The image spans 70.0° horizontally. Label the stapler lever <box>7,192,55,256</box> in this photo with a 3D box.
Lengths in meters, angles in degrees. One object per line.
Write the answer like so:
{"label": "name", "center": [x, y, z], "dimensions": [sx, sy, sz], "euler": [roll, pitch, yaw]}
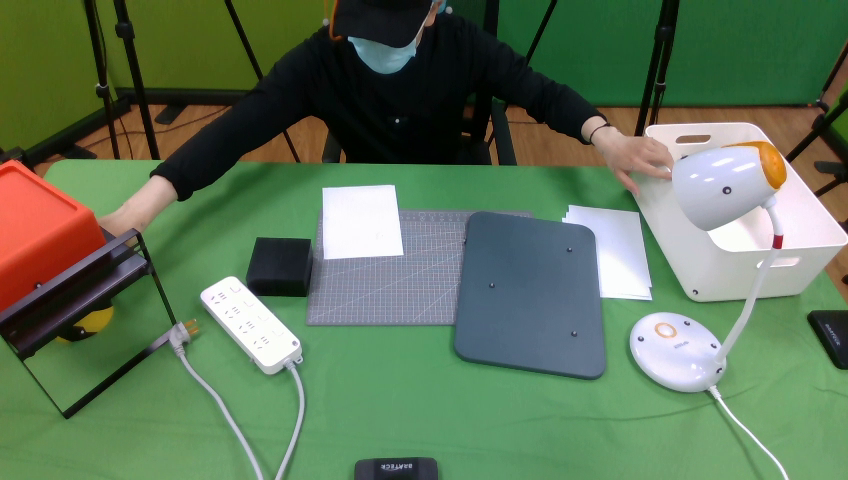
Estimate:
{"label": "stapler lever", "center": [-0.575, -0.026, 0.885], "dimensions": [0.027, 0.040, 0.117], "euler": [-31, 56, -25]}

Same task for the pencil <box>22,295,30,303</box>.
{"label": "pencil", "center": [-0.590, 0.010, 0.883], "dimensions": [0.012, 0.012, 0.193], "euler": [-17, 61, -19]}

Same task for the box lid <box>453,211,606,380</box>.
{"label": "box lid", "center": [0.200, 0.085, 1.138], "dimensions": [0.263, 0.015, 0.369], "euler": [8, 47, 3]}

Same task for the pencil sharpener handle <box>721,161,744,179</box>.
{"label": "pencil sharpener handle", "center": [0.668, -0.148, 1.299], "dimensions": [0.031, 0.068, 0.036], "euler": [-8, 78, -12]}

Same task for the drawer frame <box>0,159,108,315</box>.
{"label": "drawer frame", "center": [-0.611, 0.000, 0.863], "dimensions": [0.201, 0.083, 0.213], "euler": [27, 51, 20]}

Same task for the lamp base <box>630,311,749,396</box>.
{"label": "lamp base", "center": [0.447, 0.143, 0.983], "dimensions": [0.161, 0.181, 0.178], "euler": [-24, 55, -24]}

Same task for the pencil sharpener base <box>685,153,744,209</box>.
{"label": "pencil sharpener base", "center": [0.620, -0.125, 1.293], "dimensions": [0.077, 0.107, 0.061], "euler": [-8, 47, -12]}

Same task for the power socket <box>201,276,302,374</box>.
{"label": "power socket", "center": [-0.297, 0.141, 1.034], "dimensions": [0.072, 0.033, 0.225], "euler": [-34, 58, -30]}

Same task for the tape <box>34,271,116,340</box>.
{"label": "tape", "center": [-0.591, 0.110, 1.028], "dimensions": [0.117, 0.053, 0.116], "euler": [3, 46, -3]}

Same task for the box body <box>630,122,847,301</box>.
{"label": "box body", "center": [0.594, -0.062, 1.202], "dimensions": [0.254, 0.161, 0.361], "euler": [-4, 47, -7]}

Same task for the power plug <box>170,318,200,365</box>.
{"label": "power plug", "center": [-0.392, 0.167, 1.014], "dimensions": [0.052, 0.035, 0.072], "euler": [-30, 90, -23]}

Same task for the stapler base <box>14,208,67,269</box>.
{"label": "stapler base", "center": [-0.577, -0.010, 0.903], "dimensions": [0.041, 0.024, 0.130], "euler": [-30, 57, -25]}

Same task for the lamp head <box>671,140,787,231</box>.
{"label": "lamp head", "center": [0.415, -0.078, 0.811], "dimensions": [0.113, 0.123, 0.112], "euler": [12, 70, -37]}

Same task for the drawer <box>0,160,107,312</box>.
{"label": "drawer", "center": [-0.610, -0.001, 0.866], "dimensions": [0.194, 0.073, 0.211], "euler": [29, 52, 21]}
